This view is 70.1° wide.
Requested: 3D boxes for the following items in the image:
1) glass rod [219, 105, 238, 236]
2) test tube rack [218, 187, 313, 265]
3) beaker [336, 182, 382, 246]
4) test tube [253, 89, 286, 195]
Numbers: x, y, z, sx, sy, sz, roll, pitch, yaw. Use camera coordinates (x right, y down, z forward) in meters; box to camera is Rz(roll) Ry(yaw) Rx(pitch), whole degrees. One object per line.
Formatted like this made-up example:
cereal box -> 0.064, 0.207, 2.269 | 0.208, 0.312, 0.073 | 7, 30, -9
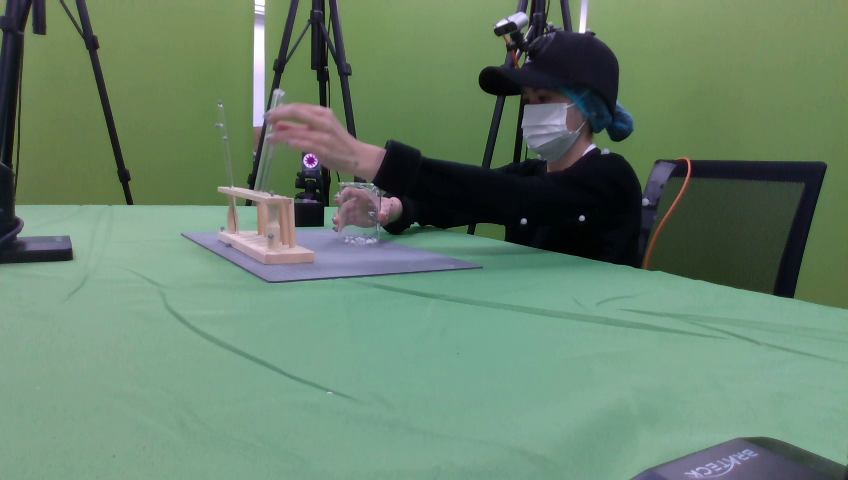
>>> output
glass rod -> -0.294, -0.100, 0.908 | 0.008, 0.199, 0.008 | -3, 12, 1
test tube rack -> -0.235, -0.027, 0.872 | 0.067, 0.085, 0.241 | -2, 8, -32
beaker -> -0.106, -0.043, 0.996 | 0.074, 0.100, 0.083 | -2, 10, -29
test tube -> -0.210, -0.131, 0.822 | 0.017, 0.150, 0.017 | 13, 1, 0
